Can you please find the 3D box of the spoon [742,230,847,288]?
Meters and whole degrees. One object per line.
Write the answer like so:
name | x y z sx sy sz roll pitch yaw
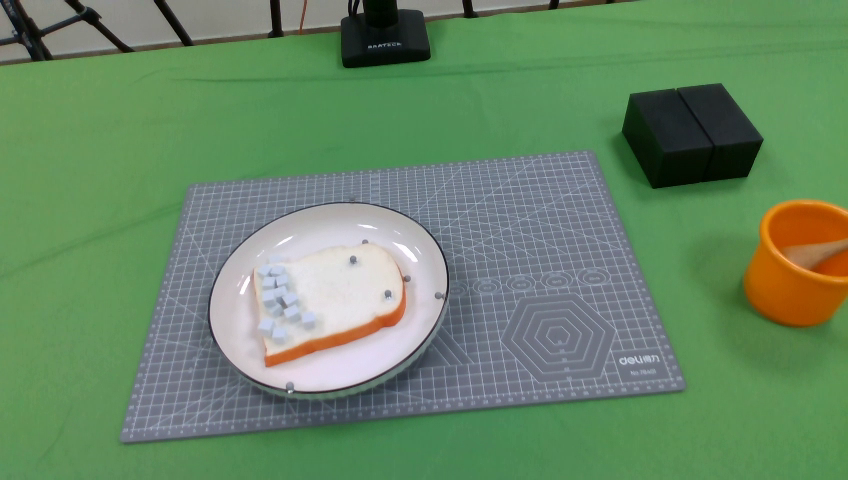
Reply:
spoon | 0.348 -0.010 0.481 0.193 0.022 0.041 -30 37 33

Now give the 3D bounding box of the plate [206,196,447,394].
plate | -0.083 0.046 0.536 0.209 0.038 0.207 -1 49 2

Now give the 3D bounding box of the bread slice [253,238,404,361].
bread slice | -0.085 0.043 0.542 0.132 0.019 0.103 -17 50 -9
